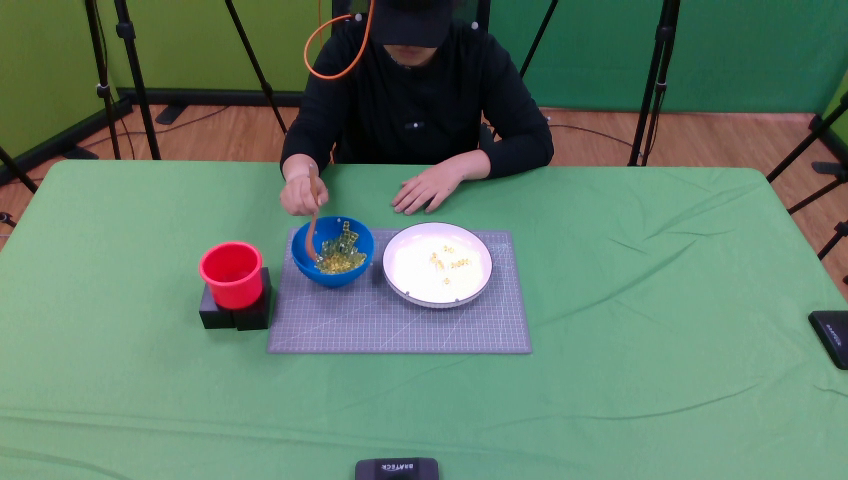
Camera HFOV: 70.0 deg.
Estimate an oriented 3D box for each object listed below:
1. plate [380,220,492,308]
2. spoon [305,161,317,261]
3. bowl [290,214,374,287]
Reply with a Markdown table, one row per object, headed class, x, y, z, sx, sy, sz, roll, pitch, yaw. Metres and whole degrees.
| class | x | y | z | sx | sy | sz | roll | pitch | yaw |
| --- | --- | --- | --- | --- | --- | --- | --- | --- | --- |
| plate | 0.022 | 0.048 | 1.138 | 0.208 | 0.039 | 0.206 | 2 | 46 | -2 |
| spoon | -0.191 | -0.047 | 1.034 | 0.022 | 0.194 | 0.041 | 5 | 32 | -7 |
| bowl | -0.166 | 0.032 | 1.111 | 0.151 | 0.077 | 0.150 | 2 | 46 | -2 |
